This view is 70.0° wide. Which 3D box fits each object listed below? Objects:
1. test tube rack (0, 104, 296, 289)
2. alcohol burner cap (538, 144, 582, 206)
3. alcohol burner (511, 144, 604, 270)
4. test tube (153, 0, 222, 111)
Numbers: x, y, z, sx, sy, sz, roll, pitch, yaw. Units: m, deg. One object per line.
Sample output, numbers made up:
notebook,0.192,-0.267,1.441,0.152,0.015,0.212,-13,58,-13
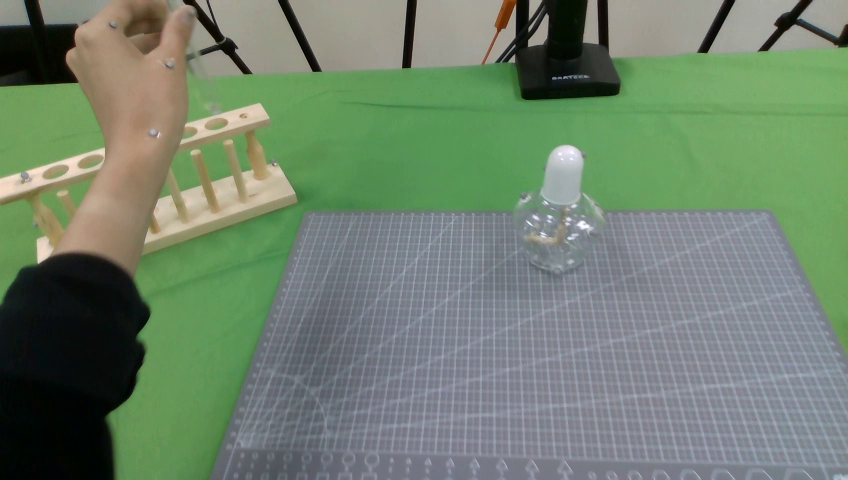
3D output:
test tube rack,-0.256,-0.046,0.583,0.243,0.086,0.066,-21,45,-17
alcohol burner cap,0.111,-0.055,0.488,0.034,0.048,0.033,0,42,1
alcohol burner,0.113,-0.031,0.508,0.078,0.120,0.077,-1,44,2
test tube,-0.175,-0.146,0.441,0.017,0.151,0.017,0,63,0
